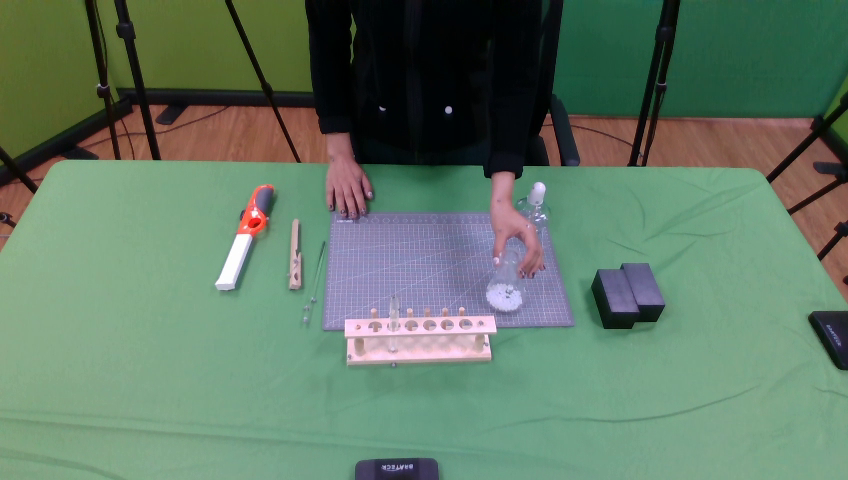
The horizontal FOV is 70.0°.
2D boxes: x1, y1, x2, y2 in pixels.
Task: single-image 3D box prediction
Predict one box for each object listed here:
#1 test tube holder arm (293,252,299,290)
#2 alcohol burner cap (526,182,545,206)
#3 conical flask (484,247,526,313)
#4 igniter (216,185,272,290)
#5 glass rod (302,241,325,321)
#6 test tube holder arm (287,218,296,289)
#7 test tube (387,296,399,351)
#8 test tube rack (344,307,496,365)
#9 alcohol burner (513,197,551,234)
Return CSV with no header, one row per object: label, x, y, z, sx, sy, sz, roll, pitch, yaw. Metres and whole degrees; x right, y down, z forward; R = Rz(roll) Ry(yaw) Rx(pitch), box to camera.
test tube holder arm,-0.241,0.056,1.131,0.010,0.015,0.087,25,35,-33
alcohol burner cap,0.222,-0.093,1.189,0.034,0.048,0.033,2,54,-3
conical flask,0.145,0.065,1.064,0.075,0.122,0.075,-1,47,1
igniter,-0.347,-0.014,1.182,0.057,0.025,0.275,-1,45,8
glass rod,-0.203,0.071,1.124,0.008,0.008,0.198,4,44,1
test tube holder arm,-0.253,0.022,1.158,0.013,0.015,0.177,24,36,-34
test tube,-0.049,0.134,0.953,0.017,0.151,0.017,2,51,-3
test tube rack,-0.009,0.154,1.007,0.242,0.085,0.066,-1,46,-5
alcohol burner,0.220,-0.069,1.217,0.078,0.119,0.077,3,47,-3
